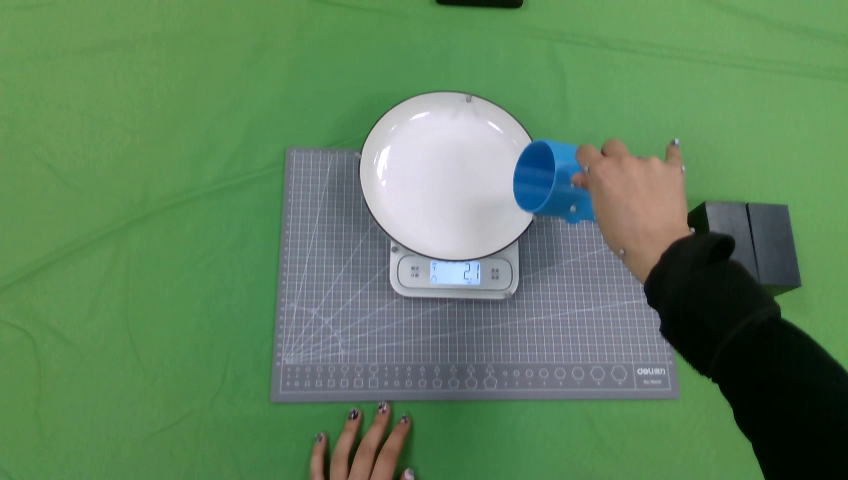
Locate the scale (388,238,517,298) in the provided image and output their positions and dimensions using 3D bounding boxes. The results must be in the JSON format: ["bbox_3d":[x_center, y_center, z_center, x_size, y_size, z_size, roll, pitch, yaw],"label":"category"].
[{"bbox_3d":[0.035,-0.034,0.707,0.149,0.032,0.199,2,73,-5],"label":"scale"}]

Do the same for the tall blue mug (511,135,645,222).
[{"bbox_3d":[0.163,-0.070,0.621,0.108,0.107,0.077,7,57,-25],"label":"tall blue mug"}]

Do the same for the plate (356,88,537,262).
[{"bbox_3d":[0.029,-0.072,0.683,0.209,0.038,0.208,2,72,-6],"label":"plate"}]
